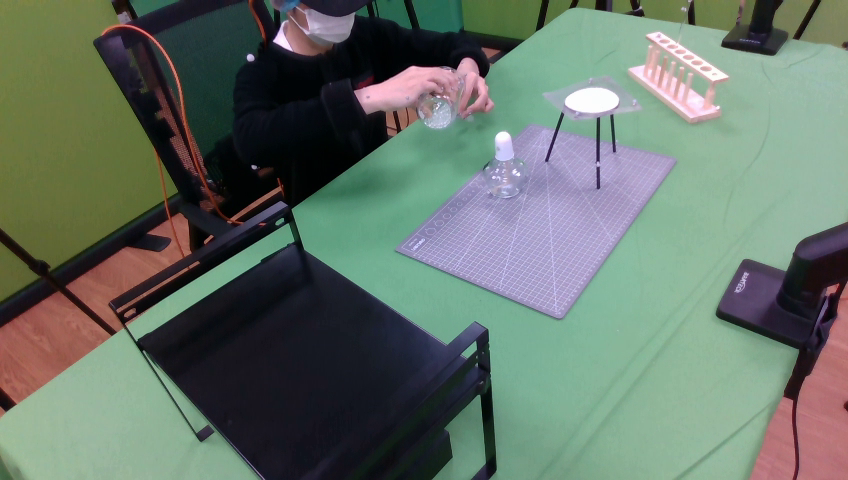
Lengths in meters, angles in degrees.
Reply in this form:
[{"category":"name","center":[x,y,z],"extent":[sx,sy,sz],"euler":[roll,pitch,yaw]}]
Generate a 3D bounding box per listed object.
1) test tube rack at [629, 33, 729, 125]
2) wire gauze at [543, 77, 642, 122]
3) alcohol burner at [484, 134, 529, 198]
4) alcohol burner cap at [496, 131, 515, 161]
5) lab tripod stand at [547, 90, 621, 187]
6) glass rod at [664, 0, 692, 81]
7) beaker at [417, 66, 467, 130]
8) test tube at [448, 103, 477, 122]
[{"category":"test tube rack","center":[0.516,-0.337,1.247],"extent":[0.067,0.085,0.240],"euler":[-14,41,-7]},{"category":"wire gauze","center":[0.282,-0.236,1.020],"extent":[0.125,0.011,0.120],"euler":[-15,40,-6]},{"category":"alcohol burner","center":[0.141,-0.133,1.041],"extent":[0.078,0.119,0.077],"euler":[-4,43,5]},{"category":"alcohol burner cap","center":[0.135,-0.160,1.019],"extent":[0.034,0.048,0.033],"euler":[-8,37,6]},{"category":"lab tripod stand","center":[0.289,-0.184,1.062],"extent":[0.148,0.132,0.147],"euler":[-6,41,6]},{"category":"glass rod","center":[0.524,-0.419,1.240],"extent":[0.008,0.200,0.008],"euler":[1,42,-1]},{"category":"beaker","center":[0.032,-0.243,1.051],"extent":[0.073,0.084,0.100],"euler":[-5,39,20]},{"category":"test tube","center":[0.077,-0.246,1.176],"extent":[0.017,0.017,0.151],"euler":[9,6,20]}]
